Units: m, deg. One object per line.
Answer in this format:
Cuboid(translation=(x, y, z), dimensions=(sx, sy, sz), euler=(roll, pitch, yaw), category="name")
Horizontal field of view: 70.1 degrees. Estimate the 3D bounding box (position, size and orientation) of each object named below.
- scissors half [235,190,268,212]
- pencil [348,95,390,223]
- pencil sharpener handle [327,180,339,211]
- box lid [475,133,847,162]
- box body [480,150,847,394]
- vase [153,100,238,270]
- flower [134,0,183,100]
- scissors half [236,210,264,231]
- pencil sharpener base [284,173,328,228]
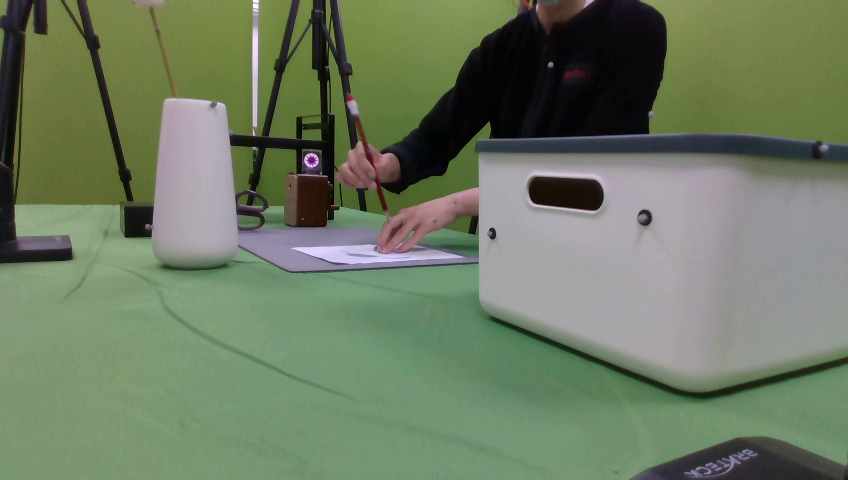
Cuboid(translation=(-0.363, -0.070, 1.060), dimensions=(0.176, 0.040, 0.013), euler=(0, 17, -23), category="scissors half")
Cuboid(translation=(-0.079, -0.118, 0.890), dimensions=(0.012, 0.194, 0.012), euler=(-16, 7, 2), category="pencil")
Cuboid(translation=(-0.194, -0.095, 1.256), dimensions=(0.031, 0.067, 0.036), euler=(-2, -5, -36), category="pencil sharpener handle")
Cuboid(translation=(0.256, -0.073, 0.528), dimensions=(0.373, 0.015, 0.262), euler=(-2, 8, -31), category="box lid")
Cuboid(translation=(0.254, 0.002, 0.539), dimensions=(0.366, 0.160, 0.253), euler=(-2, 8, -31), category="box body")
Cuboid(translation=(-0.278, -0.066, 0.736), dimensions=(0.098, 0.200, 0.098), euler=(2, 9, 0), category="vase")
Cuboid(translation=(-0.282, -0.147, 0.713), dimensions=(0.038, 0.362, 0.044), euler=(-23, 24, -31), category="flower")
Cuboid(translation=(-0.369, -0.051, 1.065), dimensions=(0.176, 0.040, 0.012), euler=(19, 14, -28), category="scissors half")
Cuboid(translation=(-0.239, -0.081, 1.231), dimensions=(0.077, 0.107, 0.061), euler=(-2, 8, -36), category="pencil sharpener base")
